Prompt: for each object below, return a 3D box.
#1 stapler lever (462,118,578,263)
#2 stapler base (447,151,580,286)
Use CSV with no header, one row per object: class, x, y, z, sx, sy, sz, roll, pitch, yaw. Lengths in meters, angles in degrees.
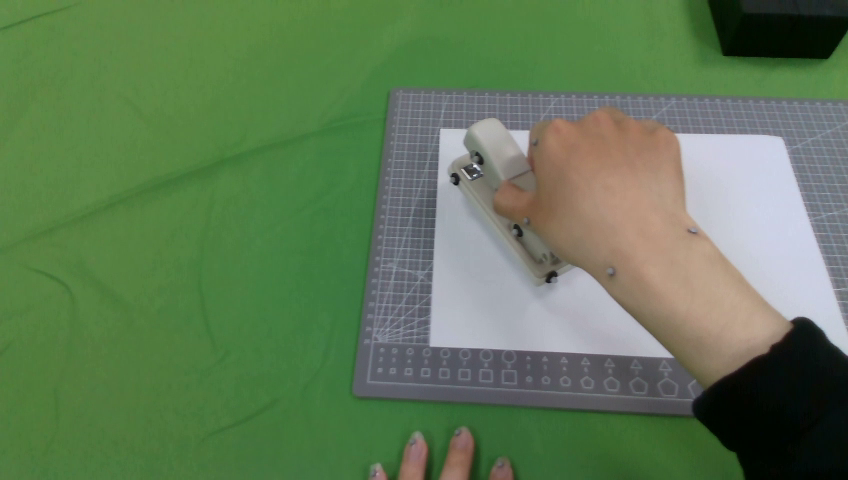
stapler lever,0.067,-0.039,0.432,0.027,0.040,0.117,-27,64,-17
stapler base,0.065,-0.026,0.454,0.041,0.024,0.129,-27,63,-17
